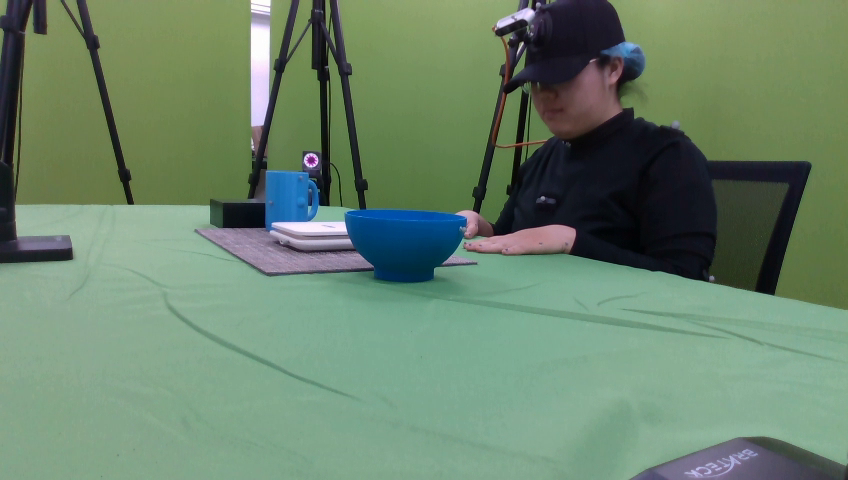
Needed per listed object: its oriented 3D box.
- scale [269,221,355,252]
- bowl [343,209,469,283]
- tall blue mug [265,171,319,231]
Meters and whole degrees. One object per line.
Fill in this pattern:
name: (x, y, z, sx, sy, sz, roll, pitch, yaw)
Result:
scale: (-0.130, -0.008, 0.959, 0.202, 0.031, 0.148, -1, 9, -32)
bowl: (-0.022, 0.007, 0.731, 0.151, 0.077, 0.151, 3, 7, 0)
tall blue mug: (-0.248, -0.073, 1.121, 0.078, 0.108, 0.107, 3, 8, 8)
